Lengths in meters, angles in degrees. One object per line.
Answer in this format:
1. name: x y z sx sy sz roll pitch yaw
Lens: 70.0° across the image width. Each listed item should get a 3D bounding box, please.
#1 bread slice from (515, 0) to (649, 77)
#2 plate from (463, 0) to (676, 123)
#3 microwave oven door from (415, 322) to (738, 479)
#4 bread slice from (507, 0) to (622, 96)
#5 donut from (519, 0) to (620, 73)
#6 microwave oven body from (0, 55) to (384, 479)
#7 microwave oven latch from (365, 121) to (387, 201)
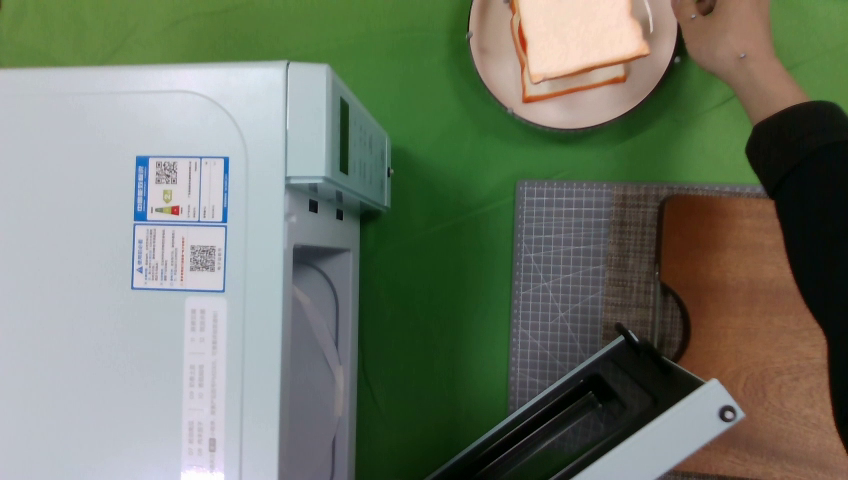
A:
1. bread slice: 0.134 -0.222 0.559 0.107 0.018 0.134 -15 82 7
2. plate: 0.144 -0.219 0.616 0.207 0.039 0.207 0 89 7
3. microwave oven door: 0.061 0.202 0.501 0.356 0.244 0.039 -38 85 4
4. bread slice: 0.137 -0.221 0.618 0.105 0.019 0.131 -12 89 5
5. donut: 0.140 -0.213 0.588 0.099 0.048 0.099 0 95 0
6. microwave oven body: -0.214 0.093 0.538 0.326 0.260 0.441 1 90 6
7. microwave oven latch: -0.052 -0.080 0.619 0.030 0.029 0.079 1 90 6
